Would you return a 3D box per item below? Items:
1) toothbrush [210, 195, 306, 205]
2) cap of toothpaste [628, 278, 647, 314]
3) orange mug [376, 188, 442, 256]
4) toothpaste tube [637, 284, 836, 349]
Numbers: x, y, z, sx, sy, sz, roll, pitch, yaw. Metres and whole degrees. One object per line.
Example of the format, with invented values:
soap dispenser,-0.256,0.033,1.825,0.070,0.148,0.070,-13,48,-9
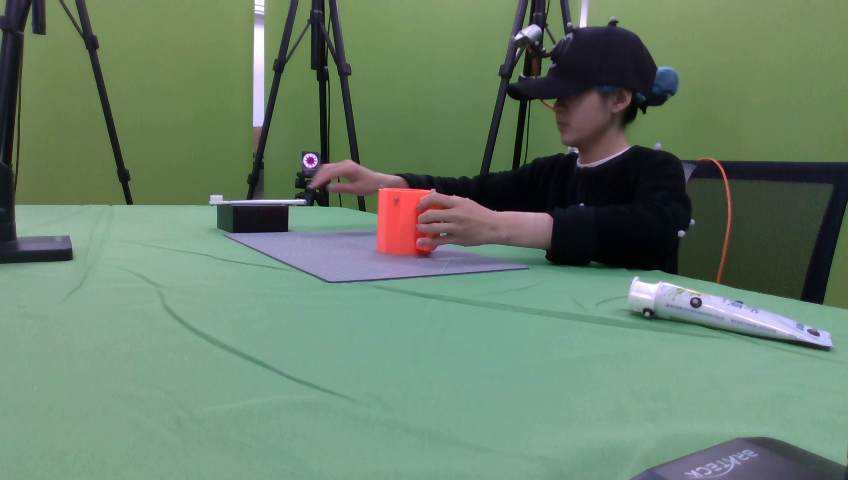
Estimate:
toothbrush,-0.303,-0.073,1.117,0.183,0.016,0.014,-2,5,-36
cap of toothpaste,0.209,0.055,0.589,0.011,0.037,0.037,11,11,28
orange mug,-0.018,-0.028,0.914,0.084,0.100,0.125,-2,5,-38
toothpaste tube,0.275,0.070,0.550,0.164,0.034,0.055,11,15,28
